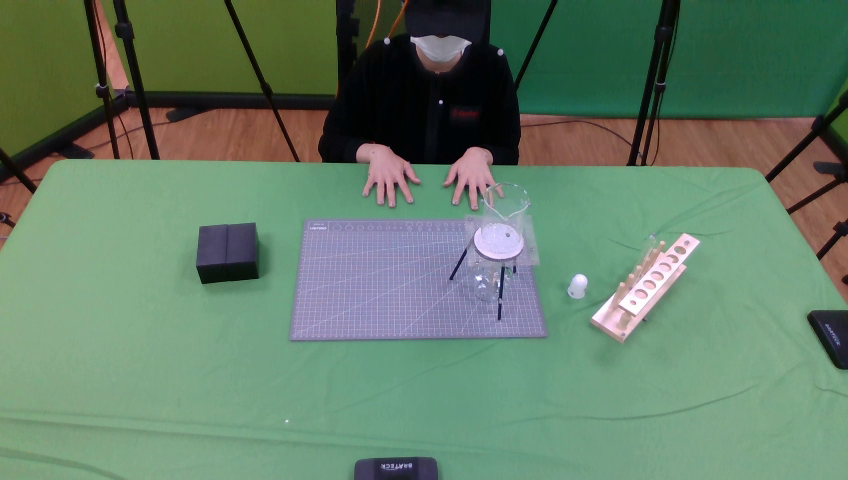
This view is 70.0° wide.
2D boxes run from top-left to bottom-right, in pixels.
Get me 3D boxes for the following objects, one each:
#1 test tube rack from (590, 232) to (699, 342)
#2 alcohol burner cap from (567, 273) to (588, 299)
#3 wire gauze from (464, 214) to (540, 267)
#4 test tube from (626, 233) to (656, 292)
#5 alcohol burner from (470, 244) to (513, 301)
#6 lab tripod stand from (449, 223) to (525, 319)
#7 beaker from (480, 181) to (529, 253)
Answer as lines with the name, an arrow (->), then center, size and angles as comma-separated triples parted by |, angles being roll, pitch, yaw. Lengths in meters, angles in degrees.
test tube rack -> 0.407, 0.074, 1.112 | 0.066, 0.085, 0.242 | 35, 53, 26
alcohol burner cap -> 0.287, 0.083, 1.125 | 0.034, 0.048, 0.033 | 2, 45, -1
wire gauze -> 0.131, -0.001, 1.035 | 0.121, 0.011, 0.124 | 1, 44, -2
test tube -> 0.384, 0.042, 1.079 | 0.017, 0.151, 0.017 | 1, 47, -1
alcohol burner -> 0.122, 0.054, 1.087 | 0.078, 0.120, 0.077 | 1, 45, -1
lab tripod stand -> 0.120, 0.046, 1.080 | 0.148, 0.132, 0.147 | 1, 47, -1
beaker -> 0.130, -0.033, 0.998 | 0.074, 0.101, 0.083 | 5, 46, 4
